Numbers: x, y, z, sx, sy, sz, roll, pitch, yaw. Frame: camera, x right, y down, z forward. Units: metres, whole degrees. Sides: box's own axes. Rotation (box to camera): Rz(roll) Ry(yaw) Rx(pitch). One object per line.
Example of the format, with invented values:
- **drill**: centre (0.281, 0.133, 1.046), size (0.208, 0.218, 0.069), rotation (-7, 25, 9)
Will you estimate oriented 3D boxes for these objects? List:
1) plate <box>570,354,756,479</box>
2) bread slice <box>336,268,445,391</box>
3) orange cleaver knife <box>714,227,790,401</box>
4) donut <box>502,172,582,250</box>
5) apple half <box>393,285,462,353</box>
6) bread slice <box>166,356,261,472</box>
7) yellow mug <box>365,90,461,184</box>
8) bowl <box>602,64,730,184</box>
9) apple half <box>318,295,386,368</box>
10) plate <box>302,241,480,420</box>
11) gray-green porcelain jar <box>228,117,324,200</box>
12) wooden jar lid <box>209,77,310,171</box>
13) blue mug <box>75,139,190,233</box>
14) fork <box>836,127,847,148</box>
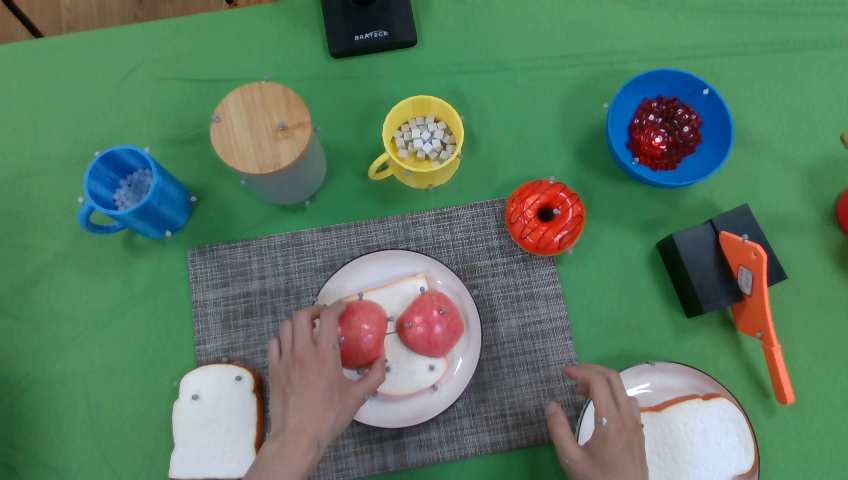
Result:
- **plate**: centre (0.269, 0.237, 0.694), size (0.209, 0.038, 0.208), rotation (0, 77, 0)
- **bread slice**: centre (-0.032, 0.109, 0.717), size (0.107, 0.018, 0.133), rotation (-21, 78, -5)
- **orange cleaver knife**: centre (0.381, 0.085, 0.707), size (0.012, 0.077, 0.212), rotation (-20, 100, -12)
- **donut**: centre (0.145, -0.036, 0.747), size (0.099, 0.048, 0.098), rotation (0, 78, 0)
- **apple half**: centre (0.007, 0.090, 0.698), size (0.081, 0.033, 0.081), rotation (1, 76, -2)
- **bread slice**: centre (-0.244, 0.202, 0.703), size (0.105, 0.019, 0.131), rotation (-2, 78, -2)
- **yellow mug**: centre (-0.018, -0.119, 0.756), size (0.131, 0.064, 0.099), rotation (-33, 80, -7)
- **bowl**: centre (0.289, -0.132, 0.757), size (0.151, 0.077, 0.150), rotation (0, 78, 0)
- **apple half**: centre (-0.079, 0.100, 0.665), size (0.075, 0.053, 0.080), rotation (7, 83, -1)
- **plate**: centre (-0.038, 0.105, 0.717), size (0.208, 0.039, 0.206), rotation (0, 78, 0)
- **gray-green porcelain jar**: centre (-0.178, -0.110, 0.722), size (0.106, 0.127, 0.105), rotation (0, 77, 0)
- **wooden jar lid**: centre (-0.178, -0.125, 0.661), size (0.108, 0.021, 0.108), rotation (0, 76, 0)
- **blue mug**: centre (-0.351, -0.052, 0.717), size (0.116, 0.106, 0.082), rotation (-35, 79, -8)
- **fork**: centre (0.524, -0.075, 0.710), size (0.209, 0.018, 0.028), rotation (31, 74, -36)
